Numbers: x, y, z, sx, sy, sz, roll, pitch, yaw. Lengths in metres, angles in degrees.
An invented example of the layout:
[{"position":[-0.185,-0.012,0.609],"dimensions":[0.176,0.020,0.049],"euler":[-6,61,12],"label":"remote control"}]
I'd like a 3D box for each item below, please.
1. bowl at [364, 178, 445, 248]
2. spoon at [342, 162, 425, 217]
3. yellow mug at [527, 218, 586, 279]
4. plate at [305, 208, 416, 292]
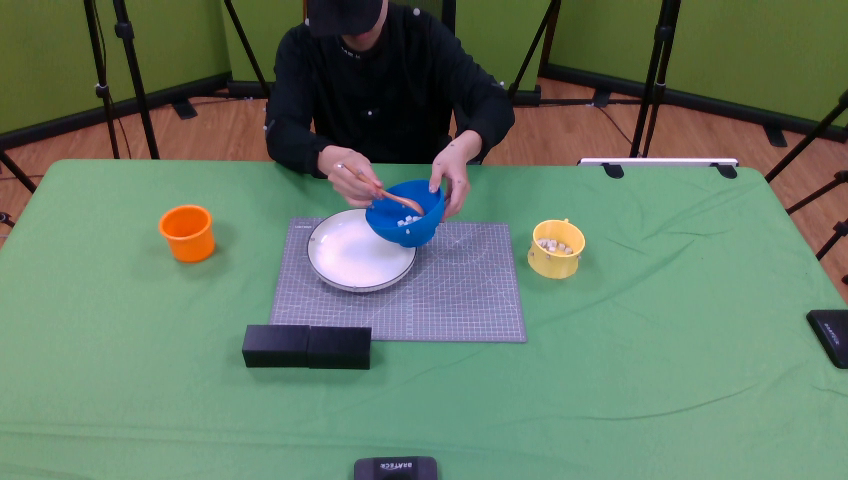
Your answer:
[{"position":[-0.027,-0.040,1.112],"dimensions":[0.151,0.077,0.150],"euler":[-12,37,9],"label":"bowl"},{"position":[-0.068,-0.085,1.076],"dimensions":[0.195,0.021,0.041],"euler":[28,16,-30],"label":"spoon"},{"position":[0.261,0.006,1.181],"dimensions":[0.100,0.064,0.130],"euler":[18,47,14],"label":"yellow mug"},{"position":[-0.119,0.021,1.153],"dimensions":[0.209,0.038,0.208],"euler":[2,46,-2],"label":"plate"}]
